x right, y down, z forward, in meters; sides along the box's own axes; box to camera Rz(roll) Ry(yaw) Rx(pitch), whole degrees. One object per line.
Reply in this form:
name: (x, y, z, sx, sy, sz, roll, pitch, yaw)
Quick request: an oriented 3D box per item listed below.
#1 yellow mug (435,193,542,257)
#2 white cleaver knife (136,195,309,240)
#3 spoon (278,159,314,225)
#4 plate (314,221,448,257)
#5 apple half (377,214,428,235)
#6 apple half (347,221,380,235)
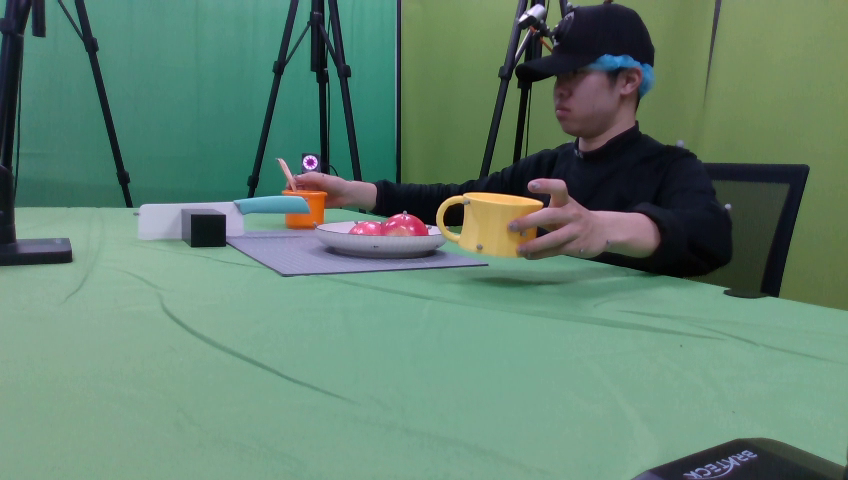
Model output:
yellow mug: (0.077, -0.023, 0.753, 0.131, 0.064, 0.100, 6, 10, 8)
white cleaver knife: (-0.337, -0.039, 1.037, 0.288, 0.066, 0.021, -6, 14, -29)
spoon: (-0.272, -0.103, 1.261, 0.042, 0.193, 0.021, -2, -36, -36)
plate: (-0.067, -0.002, 0.947, 0.209, 0.038, 0.209, 3, 7, 0)
apple half: (-0.034, -0.013, 0.924, 0.080, 0.053, 0.075, 5, 10, 16)
apple half: (-0.089, -0.014, 0.985, 0.081, 0.033, 0.081, 5, 6, 0)
